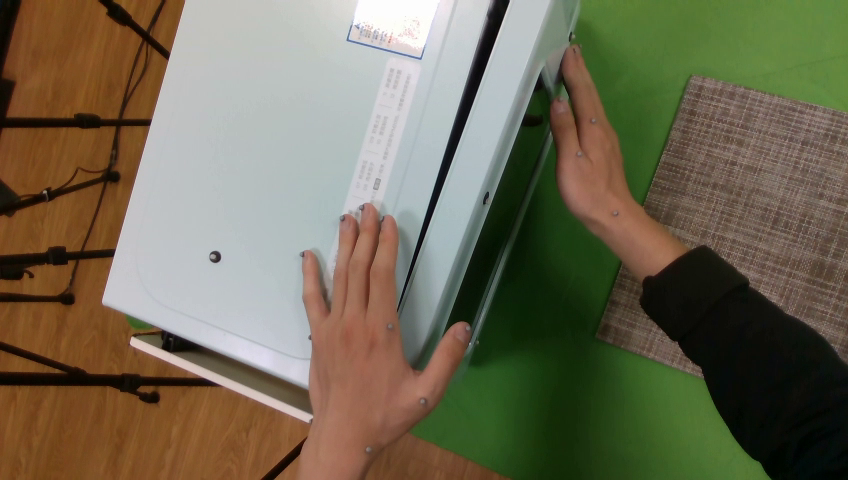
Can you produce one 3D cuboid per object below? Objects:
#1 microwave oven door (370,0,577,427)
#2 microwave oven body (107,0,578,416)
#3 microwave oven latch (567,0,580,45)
[{"bbox_3d":[0.059,-0.018,0.570,0.039,0.245,0.356,21,94,17],"label":"microwave oven door"},{"bbox_3d":[-0.069,-0.104,0.615,0.324,0.261,0.442,18,94,16],"label":"microwave oven body"},{"bbox_3d":[0.146,-0.225,0.656,0.030,0.029,0.079,18,94,16],"label":"microwave oven latch"}]
